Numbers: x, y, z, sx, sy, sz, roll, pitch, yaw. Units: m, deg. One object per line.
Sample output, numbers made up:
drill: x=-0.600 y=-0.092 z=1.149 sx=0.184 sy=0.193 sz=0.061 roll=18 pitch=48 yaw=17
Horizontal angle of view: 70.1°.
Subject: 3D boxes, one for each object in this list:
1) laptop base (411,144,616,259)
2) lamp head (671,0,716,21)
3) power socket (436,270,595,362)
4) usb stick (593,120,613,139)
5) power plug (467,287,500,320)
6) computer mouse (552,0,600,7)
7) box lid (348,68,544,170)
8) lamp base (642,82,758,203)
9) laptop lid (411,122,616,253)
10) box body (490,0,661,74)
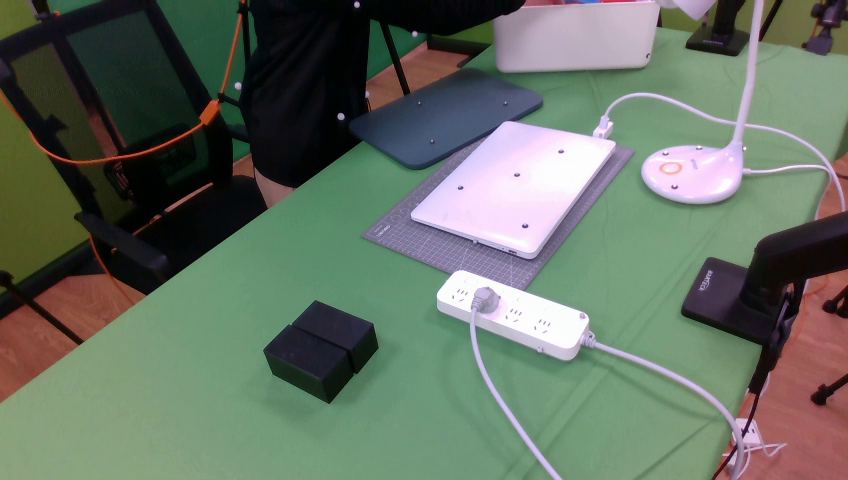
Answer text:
laptop base: x=0.168 y=-0.101 z=1.074 sx=0.234 sy=0.023 sz=0.355 roll=17 pitch=46 yaw=30
lamp head: x=0.375 y=-0.373 z=0.807 sx=0.122 sy=0.113 sz=0.112 roll=-40 pitch=27 yaw=32
power socket: x=0.118 y=0.101 z=0.832 sx=0.225 sy=0.033 sz=0.072 roll=19 pitch=48 yaw=27
usb stick: x=0.336 y=-0.201 z=1.147 sx=0.021 sy=0.027 sz=0.059 roll=26 pitch=54 yaw=27
power plug: x=0.073 y=0.092 z=0.814 sx=0.035 sy=0.053 sz=0.073 roll=29 pitch=54 yaw=34
computer mouse: x=0.365 y=-0.565 z=1.445 sx=0.117 sy=0.041 sz=0.062 roll=3 pitch=43 yaw=-5
box lid: x=0.048 y=-0.272 z=1.298 sx=0.373 sy=0.015 sz=0.261 roll=-31 pitch=45 yaw=-25
lamp base: x=0.464 y=-0.174 z=0.992 sx=0.179 sy=0.181 sz=0.159 roll=-5 pitch=41 yaw=-1
laptop lid: x=0.164 y=-0.111 z=1.067 sx=0.240 sy=0.013 sz=0.357 roll=19 pitch=46 yaw=31
box body: x=0.346 y=-0.520 z=1.429 sx=0.363 sy=0.161 sz=0.253 roll=0 pitch=41 yaw=9
